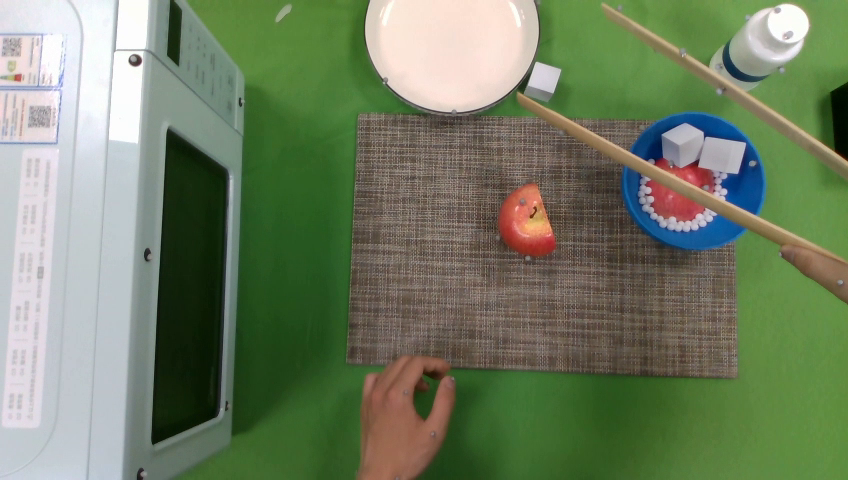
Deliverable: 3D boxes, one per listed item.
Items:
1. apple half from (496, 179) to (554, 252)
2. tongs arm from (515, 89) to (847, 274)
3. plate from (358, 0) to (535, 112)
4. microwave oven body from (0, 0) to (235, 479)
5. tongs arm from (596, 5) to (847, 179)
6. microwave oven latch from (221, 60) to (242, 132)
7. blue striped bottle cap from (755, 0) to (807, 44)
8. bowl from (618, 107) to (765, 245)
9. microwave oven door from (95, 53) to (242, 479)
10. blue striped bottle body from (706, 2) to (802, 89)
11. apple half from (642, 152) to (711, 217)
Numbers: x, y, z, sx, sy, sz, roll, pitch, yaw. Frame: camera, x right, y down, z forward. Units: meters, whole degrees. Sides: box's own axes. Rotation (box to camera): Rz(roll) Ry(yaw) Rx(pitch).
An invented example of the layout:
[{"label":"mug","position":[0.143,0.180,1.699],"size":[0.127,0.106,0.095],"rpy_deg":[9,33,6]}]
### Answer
[{"label":"apple half","position":[0.108,-0.022,0.680],"size":[0.053,0.075,0.080],"rpy_deg":[-18,87,2]},{"label":"tongs arm","position":[0.226,-0.065,0.552],"size":[0.028,0.028,0.383],"rpy_deg":[-48,54,-6]},{"label":"plate","position":[0.027,-0.251,0.728],"size":[0.208,0.039,0.207],"rpy_deg":[0,84,1]},{"label":"microwave oven body","position":[-0.379,-0.002,0.592],"size":[0.326,0.260,0.440],"rpy_deg":[0,84,0]},{"label":"tongs arm","position":[0.275,-0.115,0.549],"size":[0.051,0.027,0.380],"rpy_deg":[-42,55,3]},{"label":"microwave oven latch","position":[-0.228,-0.167,0.704],"size":[0.030,0.029,0.079],"rpy_deg":[0,85,0]},{"label":"blue striped bottle cap","position":[0.369,-0.226,0.626],"size":[0.044,0.020,0.044],"rpy_deg":[0,86,1]},{"label":"bowl","position":[0.285,-0.064,0.680],"size":[0.151,0.077,0.151],"rpy_deg":[0,84,1]},{"label":"microwave oven door","position":[-0.233,0.038,0.581],"size":[0.039,0.244,0.355],"rpy_deg":[-1,84,2]},{"label":"blue striped bottle body","position":[0.371,-0.219,0.677],"size":[0.063,0.121,0.063],"rpy_deg":[0,83,1]},{"label":"apple half","position":[0.286,-0.064,0.675],"size":[0.081,0.033,0.081],"rpy_deg":[0,83,1]}]
